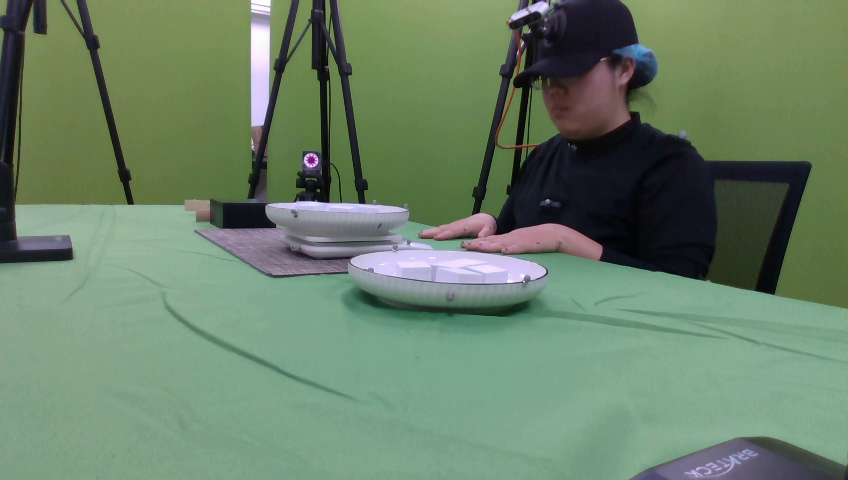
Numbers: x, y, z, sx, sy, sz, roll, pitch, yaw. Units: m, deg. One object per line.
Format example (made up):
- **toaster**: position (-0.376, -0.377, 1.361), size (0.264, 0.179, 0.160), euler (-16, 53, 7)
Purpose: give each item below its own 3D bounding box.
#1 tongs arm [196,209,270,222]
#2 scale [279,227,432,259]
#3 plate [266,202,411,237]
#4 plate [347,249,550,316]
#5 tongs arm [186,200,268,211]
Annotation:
- **tongs arm**: position (-0.304, -0.057, 1.331), size (0.390, 0.028, 0.028), euler (-3, 7, -38)
- **scale**: position (-0.100, 0.001, 0.899), size (0.202, 0.031, 0.148), euler (-1, 8, -31)
- **plate**: position (-0.123, -0.030, 0.879), size (0.208, 0.039, 0.207), euler (2, 6, 0)
- **plate**: position (0.025, 0.042, 0.627), size (0.209, 0.038, 0.209), euler (2, 7, 0)
- **tongs arm**: position (-0.343, -0.072, 1.399), size (0.387, 0.026, 0.050), euler (0, 9, -25)
